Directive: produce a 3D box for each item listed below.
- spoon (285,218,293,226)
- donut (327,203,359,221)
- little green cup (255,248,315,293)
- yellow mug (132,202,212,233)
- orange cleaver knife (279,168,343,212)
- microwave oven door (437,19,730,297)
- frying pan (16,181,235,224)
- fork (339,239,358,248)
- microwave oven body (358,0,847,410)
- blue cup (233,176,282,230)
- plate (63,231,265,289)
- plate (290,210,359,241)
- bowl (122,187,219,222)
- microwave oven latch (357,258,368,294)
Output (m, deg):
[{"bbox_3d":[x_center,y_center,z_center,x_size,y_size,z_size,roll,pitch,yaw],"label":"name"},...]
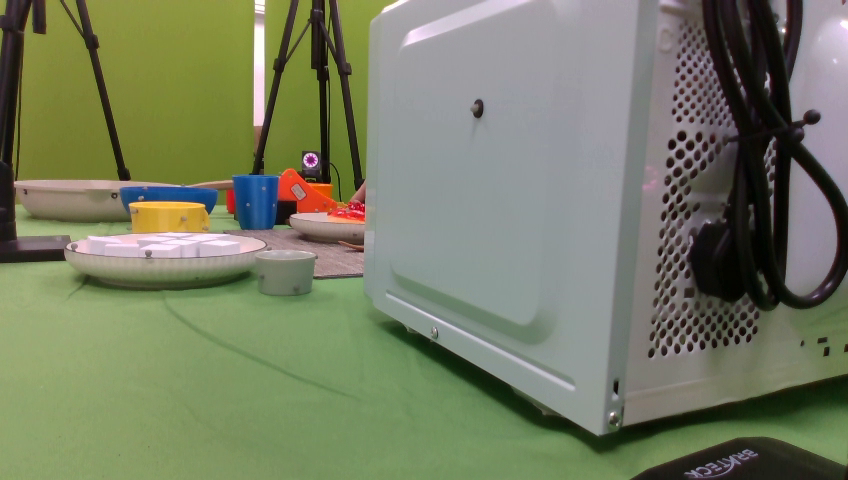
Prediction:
[{"bbox_3d":[-0.179,-0.043,1.207,0.195,0.021,0.041,-9,-11,-28],"label":"spoon"},{"bbox_3d":[-0.120,-0.037,1.055,0.099,0.048,0.099,5,7,0],"label":"donut"},{"bbox_3d":[-0.144,0.031,0.627,0.061,0.038,0.061,2,6,0],"label":"little green cup"},{"bbox_3d":[-0.356,-0.020,0.878,0.099,0.064,0.131,5,7,21],"label":"yellow mug"},{"bbox_3d":[-0.236,-0.084,1.333,0.212,0.077,0.012,31,-9,-32],"label":"orange cleaver knife"},{"bbox_3d":[0.181,-0.076,0.618,0.358,0.243,0.039,-2,9,-28],"label":"microwave oven door"},{"bbox_3d":[-0.554,-0.097,1.266,0.490,0.102,0.305,-10,13,-24],"label":"frying pan"},{"bbox_3d":[-0.027,0.003,0.925,0.208,0.018,0.028,-2,-1,-18],"label":"fork"},{"bbox_3d":[0.210,-0.051,0.471,0.444,0.260,0.324,-1,7,-28],"label":"microwave oven body"},{"bbox_3d":[-0.314,-0.071,1.141,0.093,0.100,0.092,0,7,0],"label":"blue cup"},{"bbox_3d":[-0.288,0.021,0.687,0.208,0.039,0.207,2,8,0],"label":"plate"},{"bbox_3d":[-0.127,-0.026,1.050,0.209,0.038,0.209,2,7,0],"label":"plate"},{"bbox_3d":[-0.421,-0.046,1.012,0.151,0.077,0.151,2,8,0],"label":"bowl"},{"bbox_3d":[-0.019,0.031,0.530,0.079,0.029,0.030,-1,7,-28],"label":"microwave oven latch"}]
